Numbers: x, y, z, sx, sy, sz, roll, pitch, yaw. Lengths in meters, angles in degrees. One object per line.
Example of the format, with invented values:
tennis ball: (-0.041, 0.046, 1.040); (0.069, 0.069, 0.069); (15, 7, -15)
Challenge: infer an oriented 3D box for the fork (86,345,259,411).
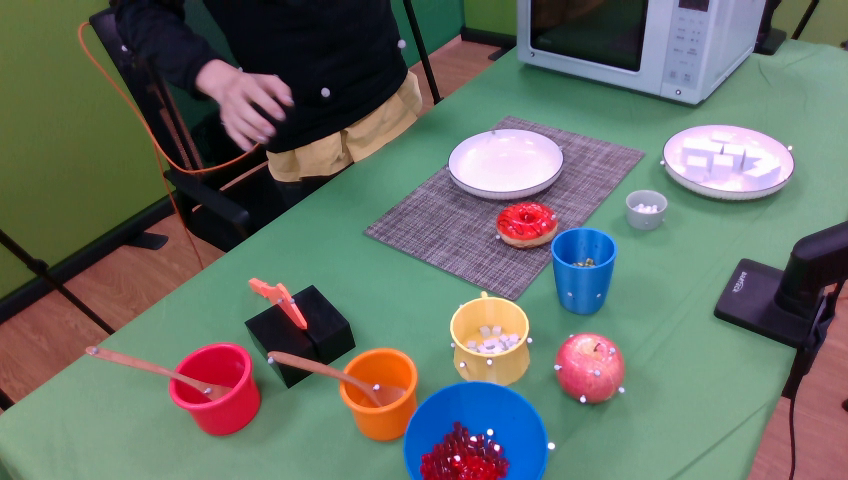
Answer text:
fork: (-0.298, 0.166, 0.728); (0.209, 0.018, 0.028); (28, 47, -23)

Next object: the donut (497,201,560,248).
donut: (0.165, -0.026, 0.958); (0.099, 0.048, 0.098); (-5, 38, 5)

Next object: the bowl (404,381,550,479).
bowl: (0.058, 0.235, 0.645); (0.151, 0.077, 0.150); (-4, 39, 4)

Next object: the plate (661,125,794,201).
plate: (0.513, -0.128, 1.035); (0.207, 0.039, 0.206); (-4, 40, 4)

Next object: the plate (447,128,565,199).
plate: (0.147, -0.134, 1.092); (0.209, 0.038, 0.208); (-4, 40, 4)

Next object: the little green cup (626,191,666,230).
little green cup: (0.352, -0.046, 0.963); (0.061, 0.039, 0.061); (-4, 40, 4)

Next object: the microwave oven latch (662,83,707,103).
microwave oven latch: (0.517, -0.296, 1.204); (0.078, 0.029, 0.030); (27, 52, 35)

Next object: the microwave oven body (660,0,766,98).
microwave oven body: (0.472, -0.513, 1.317); (0.438, 0.261, 0.327); (26, 51, 34)

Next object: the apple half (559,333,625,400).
apple half: (0.209, 0.147, 0.730); (0.080, 0.075, 0.053); (26, 48, 38)

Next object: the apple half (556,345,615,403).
apple half: (0.181, 0.167, 0.709); (0.080, 0.081, 0.033); (29, 49, 35)

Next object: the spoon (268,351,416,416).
spoon: (-0.090, 0.162, 0.699); (0.021, 0.195, 0.041); (-44, 30, 27)

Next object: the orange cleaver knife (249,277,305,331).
orange cleaver knife: (-0.210, 0.088, 0.855); (0.012, 0.077, 0.210); (-28, 15, -25)

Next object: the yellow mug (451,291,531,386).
yellow mug: (0.085, 0.120, 0.786); (0.100, 0.064, 0.130); (-7, 39, 1)

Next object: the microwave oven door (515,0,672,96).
microwave oven door: (0.343, -0.455, 1.259); (0.353, 0.245, 0.039); (26, 51, 33)

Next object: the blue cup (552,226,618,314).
blue cup: (0.218, 0.047, 0.826); (0.092, 0.101, 0.092); (-6, 40, 5)
